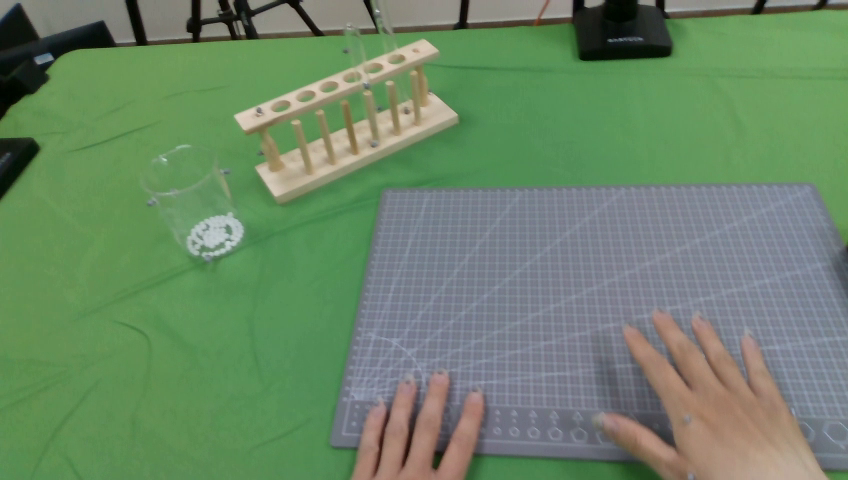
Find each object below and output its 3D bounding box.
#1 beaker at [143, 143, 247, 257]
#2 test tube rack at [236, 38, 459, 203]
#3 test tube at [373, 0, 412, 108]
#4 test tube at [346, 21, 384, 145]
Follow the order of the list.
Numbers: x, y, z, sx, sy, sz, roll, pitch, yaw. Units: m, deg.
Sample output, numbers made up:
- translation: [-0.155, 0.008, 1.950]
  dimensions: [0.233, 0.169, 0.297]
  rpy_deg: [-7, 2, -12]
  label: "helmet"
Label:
- translation: [-0.230, -0.039, 0.619]
  dimensions: [0.074, 0.101, 0.083]
  rpy_deg: [-39, 53, -25]
  label: "beaker"
- translation: [-0.081, -0.142, 0.702]
  dimensions: [0.242, 0.086, 0.066]
  rpy_deg: [-27, 50, -16]
  label: "test tube rack"
- translation: [-0.035, -0.216, 0.696]
  dimensions: [0.017, 0.152, 0.017]
  rpy_deg: [-7, 48, 8]
  label: "test tube"
- translation: [-0.063, -0.167, 0.663]
  dimensions: [0.017, 0.152, 0.017]
  rpy_deg: [-4, 47, 5]
  label: "test tube"
